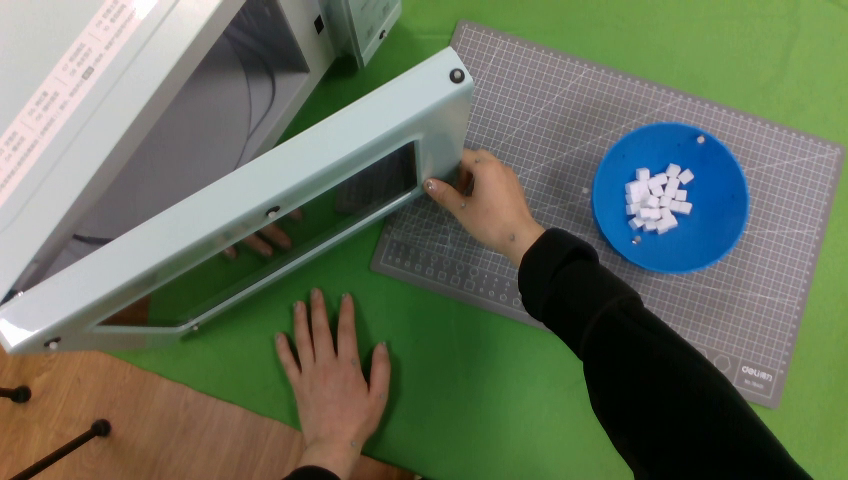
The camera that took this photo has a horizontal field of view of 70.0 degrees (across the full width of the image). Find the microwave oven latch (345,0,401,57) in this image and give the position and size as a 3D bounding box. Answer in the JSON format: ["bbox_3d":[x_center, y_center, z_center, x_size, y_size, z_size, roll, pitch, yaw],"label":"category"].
[{"bbox_3d":[-0.055,-0.237,0.645,0.030,0.029,0.079,35,85,4],"label":"microwave oven latch"}]

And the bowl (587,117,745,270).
[{"bbox_3d":[0.233,-0.040,0.617,0.151,0.077,0.151,0,83,0],"label":"bowl"}]

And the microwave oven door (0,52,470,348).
[{"bbox_3d":[-0.125,-0.016,0.515,0.356,0.244,0.039,-31,82,-4],"label":"microwave oven door"}]

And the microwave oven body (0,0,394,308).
[{"bbox_3d":[-0.276,-0.184,0.540,0.325,0.260,0.441,33,84,3],"label":"microwave oven body"}]
